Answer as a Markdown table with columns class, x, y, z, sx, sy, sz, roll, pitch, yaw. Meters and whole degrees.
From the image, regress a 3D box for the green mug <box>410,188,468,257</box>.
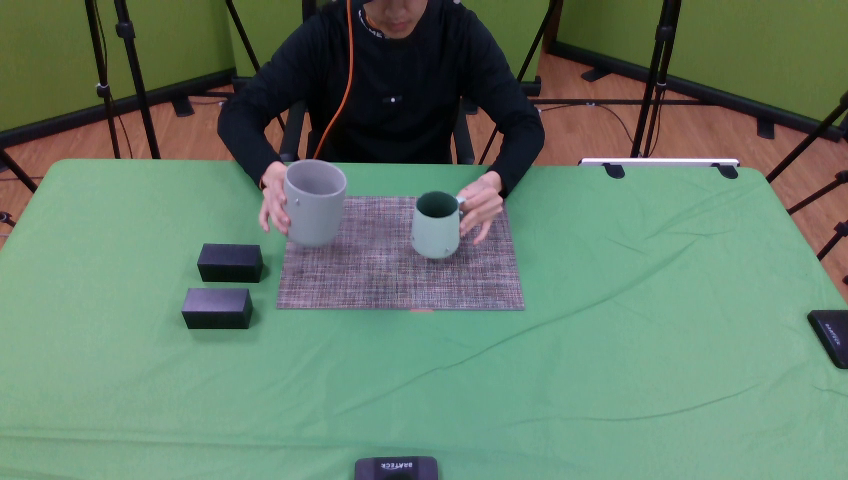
| class | x | y | z | sx | sy | sz | roll | pitch | yaw |
| --- | --- | --- | --- | --- | --- | --- | --- | --- | --- |
| green mug | 0.032 | -0.039 | 1.117 | 0.125 | 0.105 | 0.092 | -33 | 54 | -30 |

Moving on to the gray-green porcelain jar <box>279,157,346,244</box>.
| class | x | y | z | sx | sy | sz | roll | pitch | yaw |
| --- | --- | --- | --- | --- | --- | --- | --- | --- | --- |
| gray-green porcelain jar | -0.196 | -0.064 | 1.058 | 0.106 | 0.127 | 0.105 | 11 | 40 | -9 |
